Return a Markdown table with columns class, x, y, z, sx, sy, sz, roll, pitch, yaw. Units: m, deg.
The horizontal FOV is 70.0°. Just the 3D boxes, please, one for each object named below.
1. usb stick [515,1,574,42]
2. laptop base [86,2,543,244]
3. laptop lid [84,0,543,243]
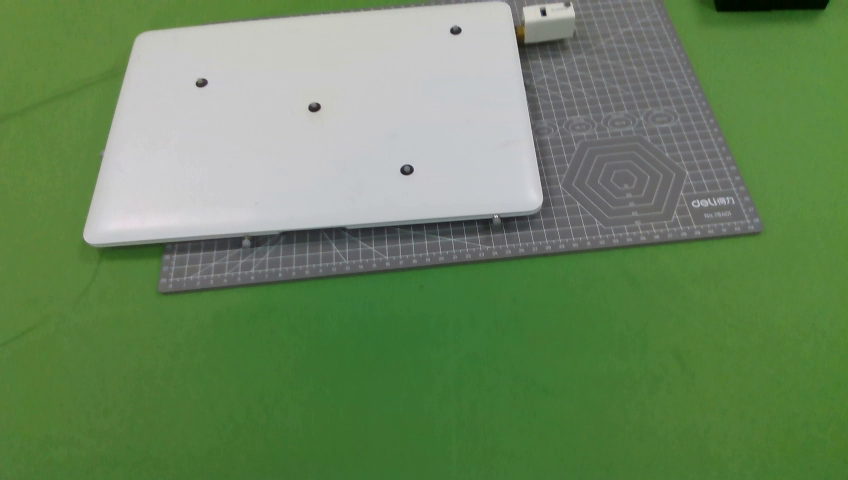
| class | x | y | z | sx | sy | sz | roll | pitch | yaw |
| --- | --- | --- | --- | --- | --- | --- | --- | --- | --- |
| usb stick | 0.104 | -0.196 | 0.546 | 0.059 | 0.027 | 0.021 | -7 | 60 | 6 |
| laptop base | -0.090 | -0.106 | 0.520 | 0.354 | 0.023 | 0.233 | -4 | 62 | 1 |
| laptop lid | -0.090 | -0.111 | 0.509 | 0.357 | 0.013 | 0.239 | -3 | 61 | 2 |
